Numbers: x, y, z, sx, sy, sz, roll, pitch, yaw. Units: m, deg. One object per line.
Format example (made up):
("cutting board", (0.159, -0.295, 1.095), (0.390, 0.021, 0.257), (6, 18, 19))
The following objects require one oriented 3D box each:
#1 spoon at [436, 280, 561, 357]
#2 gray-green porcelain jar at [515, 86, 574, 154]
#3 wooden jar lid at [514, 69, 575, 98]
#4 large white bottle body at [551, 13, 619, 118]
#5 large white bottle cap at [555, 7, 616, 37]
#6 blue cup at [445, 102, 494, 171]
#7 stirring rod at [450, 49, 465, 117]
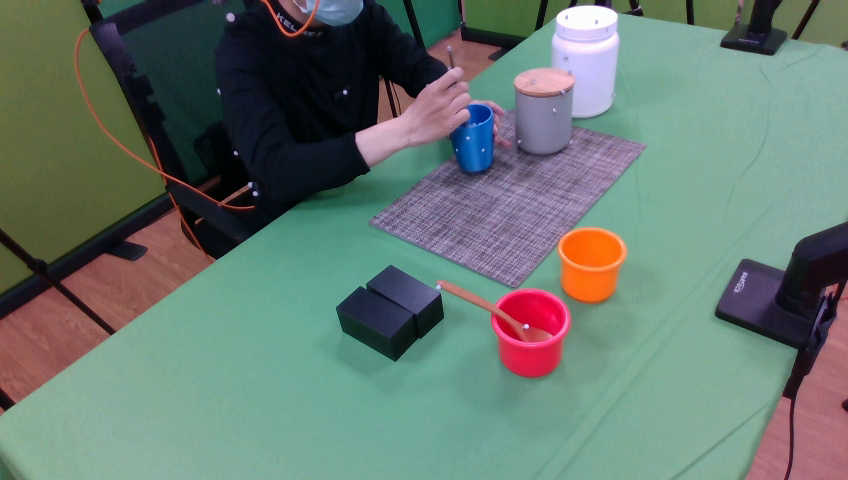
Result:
("spoon", (0.096, 0.095, 0.757), (0.195, 0.021, 0.041), (33, 43, -20))
("gray-green porcelain jar", (0.223, -0.232, 1.129), (0.106, 0.127, 0.105), (-4, 40, 4))
("wooden jar lid", (0.216, -0.279, 1.088), (0.108, 0.021, 0.108), (-3, 38, 3))
("large white bottle body", (0.321, -0.356, 1.218), (0.130, 0.185, 0.130), (-4, 41, 4))
("large white bottle cap", (0.311, -0.420, 1.163), (0.115, 0.018, 0.114), (-4, 40, 4))
("blue cup", (0.087, -0.181, 1.085), (0.092, 0.101, 0.092), (-7, 41, 6))
("stirring rod", (0.064, -0.248, 1.059), (0.006, 0.177, 0.014), (-9, 35, 8))
